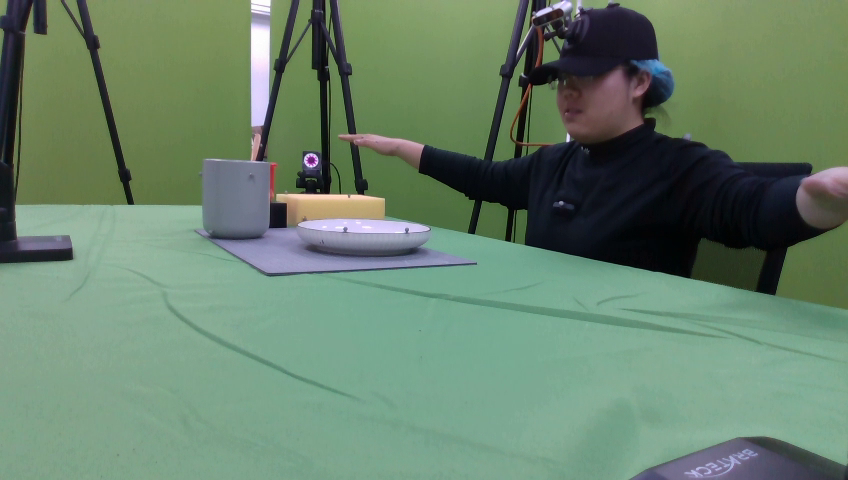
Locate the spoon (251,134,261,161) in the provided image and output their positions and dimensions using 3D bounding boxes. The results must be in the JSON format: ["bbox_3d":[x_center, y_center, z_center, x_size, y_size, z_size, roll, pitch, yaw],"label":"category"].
[{"bbox_3d":[-0.341,-0.152,1.206,0.042,0.021,0.193,3,51,-7],"label":"spoon"}]

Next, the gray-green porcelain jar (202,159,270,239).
[{"bbox_3d":[-0.310,-0.068,0.999,0.106,0.126,0.106,3,8,0],"label":"gray-green porcelain jar"}]

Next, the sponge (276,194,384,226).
[{"bbox_3d":[-0.202,-0.067,1.312,0.208,0.061,0.117,-3,9,-35],"label":"sponge"}]

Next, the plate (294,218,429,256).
[{"bbox_3d":[-0.096,-0.005,0.936,0.208,0.039,0.207,3,7,0],"label":"plate"}]
